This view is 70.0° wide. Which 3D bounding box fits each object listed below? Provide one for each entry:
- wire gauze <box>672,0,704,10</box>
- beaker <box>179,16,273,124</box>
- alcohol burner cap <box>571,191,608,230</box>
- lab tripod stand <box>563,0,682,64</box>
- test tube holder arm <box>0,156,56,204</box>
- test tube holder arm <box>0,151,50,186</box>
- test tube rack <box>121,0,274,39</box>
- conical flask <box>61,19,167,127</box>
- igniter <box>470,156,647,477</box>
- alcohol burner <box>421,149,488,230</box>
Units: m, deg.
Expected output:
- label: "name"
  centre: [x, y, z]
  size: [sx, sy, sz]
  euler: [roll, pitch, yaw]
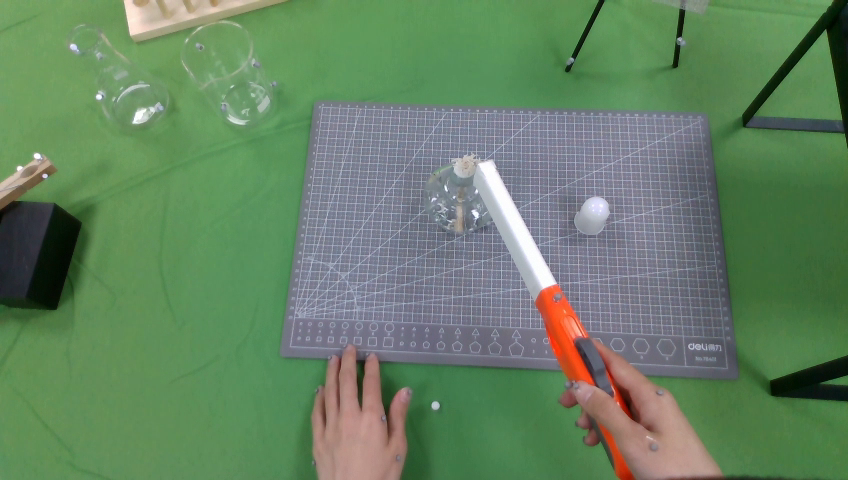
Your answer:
- label: "wire gauze"
  centre: [0.233, -0.290, 0.603]
  size: [0.121, 0.011, 0.124]
  euler: [23, 73, 8]
- label: "beaker"
  centre: [-0.213, -0.178, 0.663]
  size: [0.074, 0.101, 0.083]
  euler: [17, 72, 8]
- label: "alcohol burner cap"
  centre: [0.174, -0.033, 0.629]
  size: [0.034, 0.048, 0.033]
  euler: [0, 70, 1]
- label: "lab tripod stand"
  centre: [0.227, -0.265, 0.666]
  size: [0.148, 0.132, 0.147]
  euler: [0, 69, 0]
- label: "test tube holder arm"
  centre: [-0.417, -0.054, 0.614]
  size: [0.088, 0.015, 0.010]
  euler: [-39, 73, -13]
- label: "test tube holder arm"
  centre: [-0.455, -0.029, 0.606]
  size: [0.178, 0.015, 0.013]
  euler: [-40, 74, -13]
- label: "test tube rack"
  centre: [-0.255, -0.326, 0.725]
  size: [0.242, 0.086, 0.066]
  euler: [-18, 70, -5]
- label: "conical flask"
  centre: [-0.339, -0.183, 0.655]
  size: [0.075, 0.122, 0.075]
  euler: [-1, 69, 2]
- label: "igniter"
  centre: [0.100, 0.050, 0.481]
  size: [0.025, 0.057, 0.274]
  euler: [-18, 65, -14]
- label: "alcohol burner"
  centre: [0.036, -0.056, 0.602]
  size: [0.078, 0.120, 0.077]
  euler: [0, 69, 0]
